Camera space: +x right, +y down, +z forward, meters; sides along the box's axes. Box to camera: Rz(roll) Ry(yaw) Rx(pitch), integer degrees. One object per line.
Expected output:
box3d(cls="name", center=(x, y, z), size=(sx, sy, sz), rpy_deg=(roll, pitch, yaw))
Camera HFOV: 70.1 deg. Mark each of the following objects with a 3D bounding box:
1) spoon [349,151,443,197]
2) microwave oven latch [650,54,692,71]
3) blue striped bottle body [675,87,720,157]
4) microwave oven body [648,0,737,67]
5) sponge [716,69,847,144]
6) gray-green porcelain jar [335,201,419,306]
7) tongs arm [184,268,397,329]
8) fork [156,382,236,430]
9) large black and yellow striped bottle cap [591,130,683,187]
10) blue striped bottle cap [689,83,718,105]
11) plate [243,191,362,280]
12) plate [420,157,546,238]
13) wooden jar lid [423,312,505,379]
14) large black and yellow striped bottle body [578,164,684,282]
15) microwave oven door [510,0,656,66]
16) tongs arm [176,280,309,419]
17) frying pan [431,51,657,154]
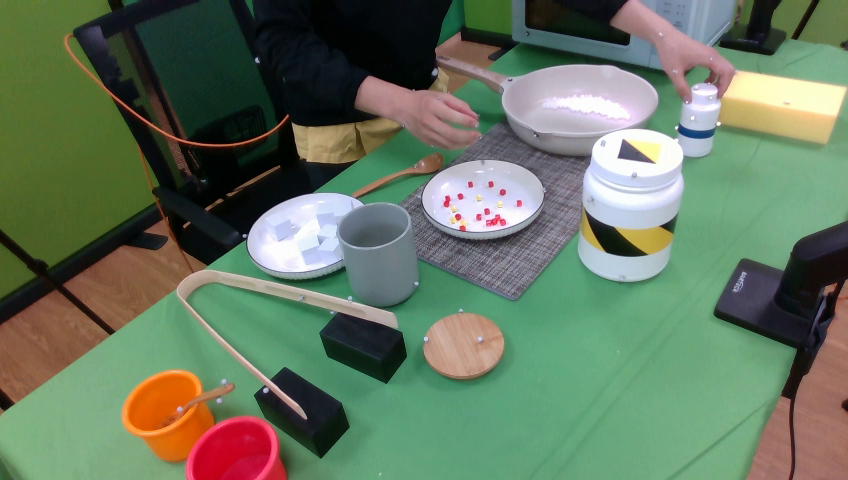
box3d(cls="spoon", center=(-0.051, -0.122, 1.120), size=(0.194, 0.022, 0.041), rpy_deg=(-22, 60, -18))
box3d(cls="microwave oven latch", center=(0.530, -0.386, 1.301), size=(0.078, 0.029, 0.030), rpy_deg=(24, 50, 32))
box3d(cls="blue striped bottle body", center=(0.485, -0.213, 1.071), size=(0.063, 0.121, 0.063), rpy_deg=(-5, 41, 5))
box3d(cls="microwave oven body", center=(0.475, -0.602, 1.411), size=(0.438, 0.261, 0.327), rpy_deg=(23, 50, 32))
box3d(cls="sponge", center=(0.663, -0.256, 1.141), size=(0.205, 0.061, 0.118), rpy_deg=(19, 47, 27))
box3d(cls="gray-green porcelain jar", center=(-0.064, 0.024, 0.872), size=(0.106, 0.127, 0.105), rpy_deg=(-4, 41, 4))
box3d(cls="tongs arm", center=(-0.202, 0.084, 0.848), size=(0.382, 0.027, 0.051), rpy_deg=(11, 45, 35))
box3d(cls="fork", center=(-0.262, 0.189, 0.690), size=(0.018, 0.206, 0.028), rpy_deg=(49, 43, -7))
box3d(cls="large black and yellow striped bottle cap", center=(0.282, -0.111, 0.803), size=(0.115, 0.019, 0.114), rpy_deg=(-3, 41, 3))
box3d(cls="blue striped bottle cap", center=(0.480, -0.251, 1.038), size=(0.044, 0.021, 0.044), rpy_deg=(-7, 40, 6))
box3d(cls="plate", center=(-0.188, -0.005, 0.992), size=(0.207, 0.039, 0.206), rpy_deg=(-3, 40, 3))
box3d(cls="plate", center=(0.099, -0.067, 1.017), size=(0.209, 0.038, 0.208), rpy_deg=(-4, 40, 4))
box3d(cls="wooden jar lid", center=(0.053, 0.142, 0.800), size=(0.108, 0.021, 0.108), rpy_deg=(-5, 39, 4))
box3d(cls="large black and yellow striped bottle body", center=(0.291, -0.046, 0.859), size=(0.131, 0.185, 0.130), rpy_deg=(-4, 41, 4))
box3d(cls="microwave oven door", center=(0.350, -0.539, 1.348), size=(0.353, 0.245, 0.039), rpy_deg=(24, 50, 31))
box3d(cls="tongs arm", center=(-0.254, 0.133, 0.801), size=(0.028, 0.028, 0.384), rpy_deg=(-41, 41, -23))
box3d(cls="frying pan", center=(0.215, -0.302, 1.223), size=(0.484, 0.103, 0.308), rpy_deg=(29, 49, 24))
